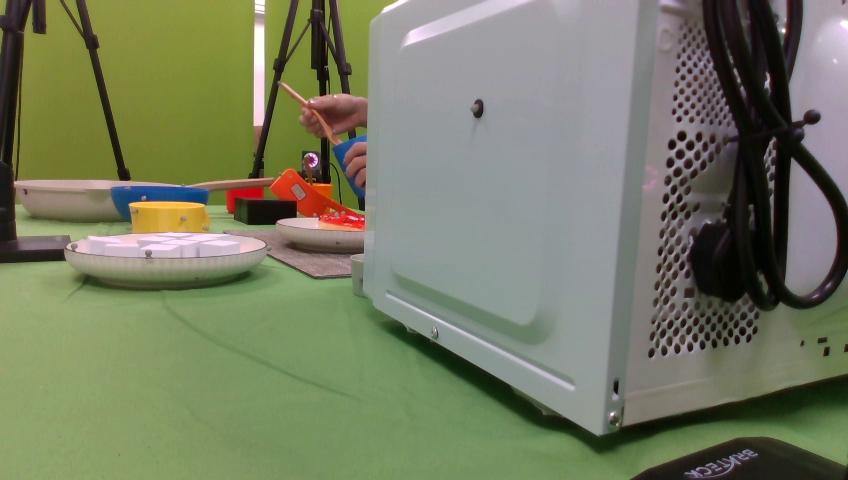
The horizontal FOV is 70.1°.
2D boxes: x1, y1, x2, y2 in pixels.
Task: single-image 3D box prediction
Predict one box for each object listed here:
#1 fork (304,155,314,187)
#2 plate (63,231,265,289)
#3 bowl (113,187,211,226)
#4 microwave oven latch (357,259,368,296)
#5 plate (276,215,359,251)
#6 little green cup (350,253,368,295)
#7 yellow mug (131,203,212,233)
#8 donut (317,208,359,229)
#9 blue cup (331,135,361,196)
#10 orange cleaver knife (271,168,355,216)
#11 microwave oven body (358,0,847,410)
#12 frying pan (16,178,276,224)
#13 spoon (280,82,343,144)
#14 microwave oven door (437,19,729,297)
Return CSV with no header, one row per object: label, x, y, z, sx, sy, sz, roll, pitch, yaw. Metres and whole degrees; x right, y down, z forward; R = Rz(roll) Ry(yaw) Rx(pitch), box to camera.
fork,-0.268,-0.134,1.446,0.028,0.018,0.207,1,-36,-1
plate,-0.288,0.021,0.687,0.208,0.039,0.207,2,8,0
bowl,-0.436,-0.046,1.013,0.151,0.077,0.151,2,7,0
microwave oven latch,-0.019,0.031,0.528,0.079,0.029,0.030,-1,7,-25
plate,-0.126,-0.012,0.950,0.209,0.038,0.209,2,7,0
little green cup,-0.048,0.035,0.632,0.061,0.038,0.061,3,6,0
yellow mug,-0.356,-0.020,0.878,0.099,0.064,0.131,4,7,22
donut,-0.118,-0.024,0.954,0.099,0.048,0.099,6,7,0
blue cup,-0.109,-0.135,1.085,0.092,0.100,0.092,-20,9,4
orange cleaver knife,-0.236,-0.084,1.333,0.212,0.077,0.012,31,-9,-32
microwave oven body,0.210,-0.051,0.471,0.444,0.260,0.324,-1,7,-28
frying pan,-0.554,-0.097,1.266,0.490,0.102,0.305,-10,13,-24
spoon,-0.195,-0.225,1.099,0.193,0.021,0.042,48,23,9
microwave oven door,0.180,-0.076,0.618,0.358,0.243,0.039,-2,8,-28
